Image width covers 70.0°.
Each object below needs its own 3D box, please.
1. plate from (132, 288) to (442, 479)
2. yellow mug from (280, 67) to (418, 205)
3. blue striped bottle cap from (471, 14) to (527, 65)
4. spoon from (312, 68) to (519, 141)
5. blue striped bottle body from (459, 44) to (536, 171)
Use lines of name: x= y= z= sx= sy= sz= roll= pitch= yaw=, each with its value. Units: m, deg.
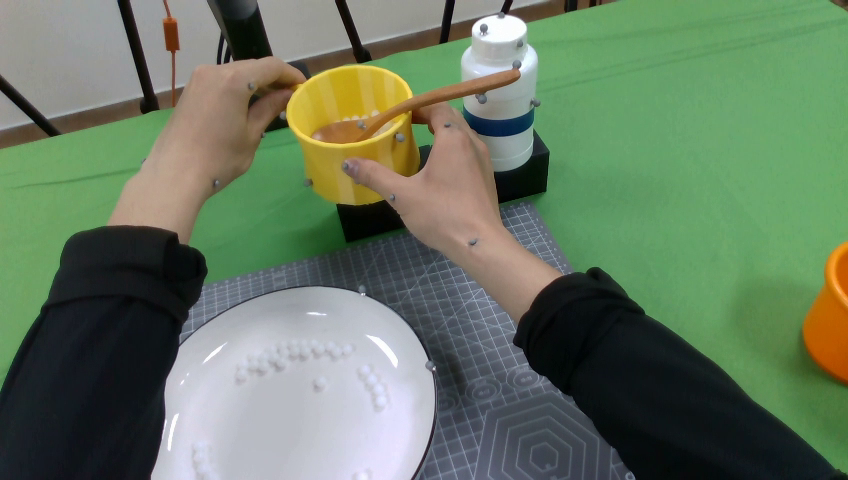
plate: x=-0.090 y=0.125 z=0.423 sx=0.207 sy=0.039 sz=0.205 roll=-3 pitch=47 yaw=4
yellow mug: x=-0.070 y=-0.092 z=0.503 sx=0.130 sy=0.064 sz=0.099 roll=24 pitch=55 yaw=23
blue striped bottle cap: x=0.059 y=-0.158 z=0.476 sx=0.044 sy=0.021 sz=0.044 roll=-5 pitch=47 yaw=6
spoon: x=-0.016 y=-0.098 z=0.462 sx=0.193 sy=0.022 sz=0.041 roll=-13 pitch=39 yaw=37
blue striped bottle body: x=0.062 y=-0.123 z=0.513 sx=0.063 sy=0.122 sz=0.062 roll=-3 pitch=47 yaw=4
